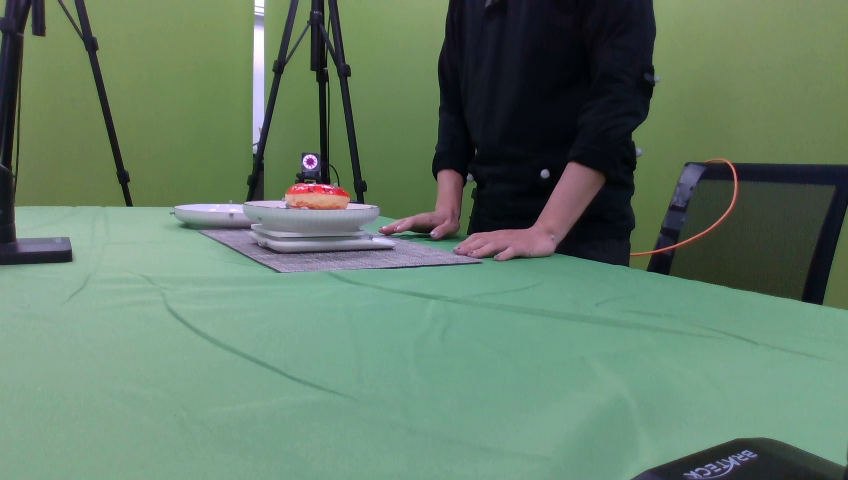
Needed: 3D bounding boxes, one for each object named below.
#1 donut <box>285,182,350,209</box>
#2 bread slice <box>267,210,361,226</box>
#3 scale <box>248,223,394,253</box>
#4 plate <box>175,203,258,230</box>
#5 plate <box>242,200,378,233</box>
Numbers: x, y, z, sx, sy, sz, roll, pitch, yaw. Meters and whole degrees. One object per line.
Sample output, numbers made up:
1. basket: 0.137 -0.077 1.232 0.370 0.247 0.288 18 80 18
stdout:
1. donut: -0.165 -0.065 0.938 0.099 0.048 0.099 3 3 0
2. bread slice: -0.174 -0.035 0.934 0.132 0.019 0.104 -1 6 -28
3. scale: -0.162 -0.006 0.954 0.202 0.031 0.148 -2 8 -32
4. plate: -0.381 -0.047 1.199 0.208 0.039 0.207 3 7 0
5. plate: -0.176 -0.038 0.939 0.209 0.038 0.209 3 7 0
